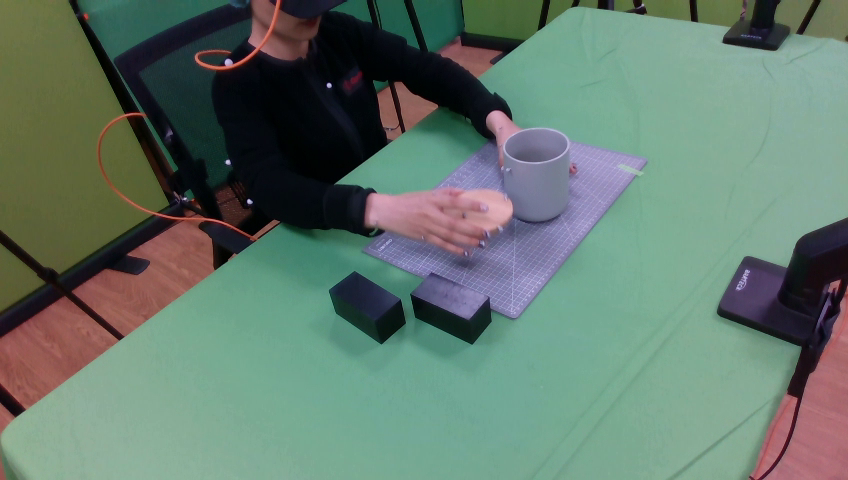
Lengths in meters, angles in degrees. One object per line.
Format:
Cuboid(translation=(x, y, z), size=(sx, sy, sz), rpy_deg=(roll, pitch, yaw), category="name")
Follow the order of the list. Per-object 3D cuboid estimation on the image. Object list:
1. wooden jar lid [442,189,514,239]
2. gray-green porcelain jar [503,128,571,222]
Cuboid(translation=(0.081, -0.038, 0.905), size=(0.108, 0.021, 0.108), rpy_deg=(-6, 39, 5), category="wooden jar lid")
Cuboid(translation=(0.184, -0.102, 0.983), size=(0.106, 0.127, 0.105), rpy_deg=(-5, 40, 5), category="gray-green porcelain jar")
